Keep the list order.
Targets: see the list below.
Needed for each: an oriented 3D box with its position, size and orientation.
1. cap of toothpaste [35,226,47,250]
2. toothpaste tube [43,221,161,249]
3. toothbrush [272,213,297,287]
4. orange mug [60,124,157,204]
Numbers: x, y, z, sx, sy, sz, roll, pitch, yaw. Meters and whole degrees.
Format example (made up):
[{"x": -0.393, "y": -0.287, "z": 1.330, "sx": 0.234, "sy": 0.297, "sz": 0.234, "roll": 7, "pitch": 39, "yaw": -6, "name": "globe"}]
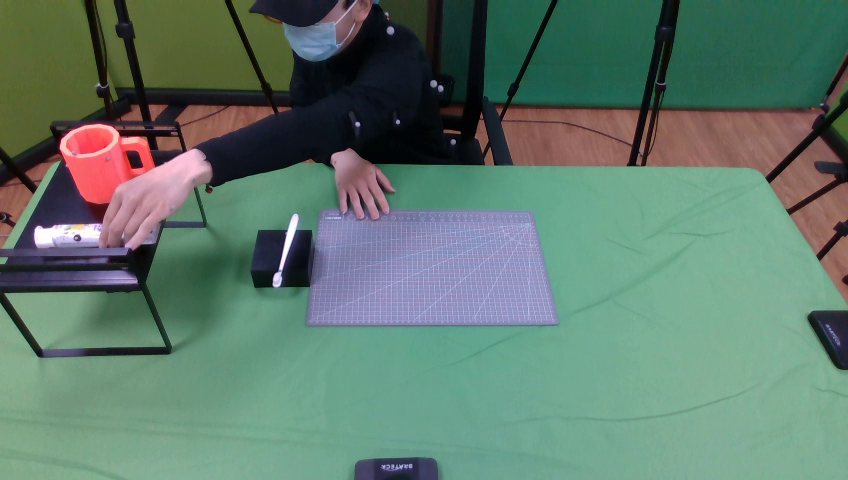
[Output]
[{"x": -0.565, "y": -0.004, "z": 0.899, "sx": 0.011, "sy": 0.037, "sz": 0.037, "roll": -5, "pitch": 47, "yaw": -11, "name": "cap of toothpaste"}, {"x": -0.488, "y": -0.008, "z": 0.913, "sx": 0.165, "sy": 0.035, "sz": 0.054, "roll": -5, "pitch": 42, "yaw": -11, "name": "toothpaste tube"}, {"x": -0.252, "y": 0.013, "z": 1.104, "sx": 0.014, "sy": 0.017, "sz": 0.181, "roll": 2, "pitch": 46, "yaw": 2, "name": "toothbrush"}, {"x": -0.505, "y": -0.126, "z": 0.980, "sx": 0.126, "sy": 0.101, "sz": 0.083, "roll": -13, "pitch": 48, "yaw": -10, "name": "orange mug"}]
